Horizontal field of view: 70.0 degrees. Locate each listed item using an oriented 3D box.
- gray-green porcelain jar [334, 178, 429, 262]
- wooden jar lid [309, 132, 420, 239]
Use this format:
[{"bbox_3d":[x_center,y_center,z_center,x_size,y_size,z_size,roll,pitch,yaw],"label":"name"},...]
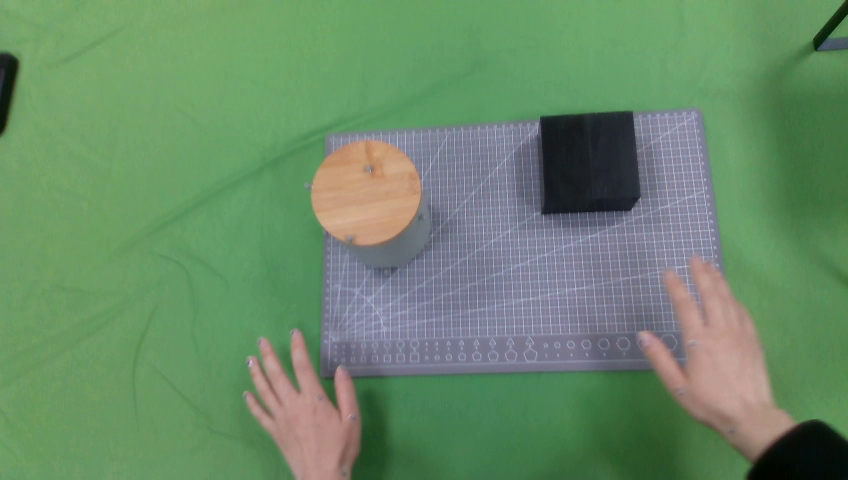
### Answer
[{"bbox_3d":[-0.050,-0.036,0.653,0.106,0.127,0.105,-1,76,5],"label":"gray-green porcelain jar"},{"bbox_3d":[-0.057,-0.052,0.593,0.108,0.021,0.108,-1,79,4],"label":"wooden jar lid"}]
